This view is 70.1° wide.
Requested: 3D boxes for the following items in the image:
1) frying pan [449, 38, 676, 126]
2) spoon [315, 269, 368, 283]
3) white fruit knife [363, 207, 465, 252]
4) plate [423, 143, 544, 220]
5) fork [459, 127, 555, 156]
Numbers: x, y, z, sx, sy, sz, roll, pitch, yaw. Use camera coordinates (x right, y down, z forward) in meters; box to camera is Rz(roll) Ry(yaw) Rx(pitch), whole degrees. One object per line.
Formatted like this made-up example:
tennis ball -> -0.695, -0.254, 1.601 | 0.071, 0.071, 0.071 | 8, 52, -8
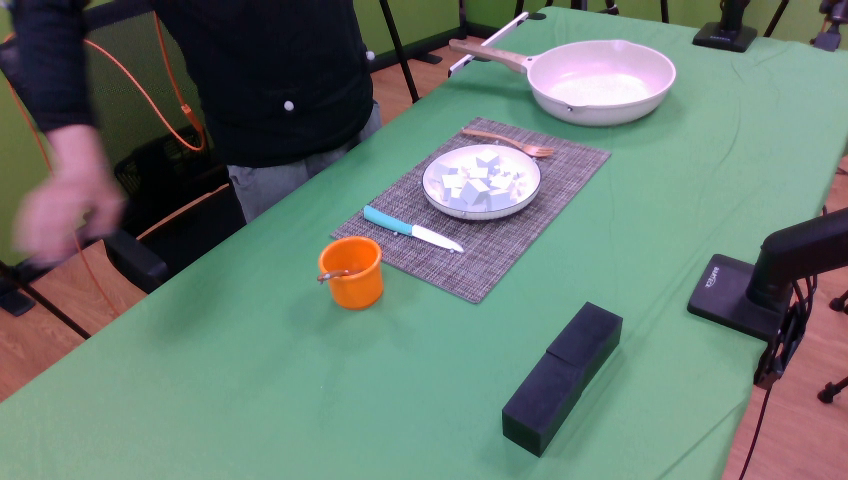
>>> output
frying pan -> 0.272, -0.362, 1.287 | 0.485, 0.103, 0.307 | 23, 48, 19
spoon -> -0.116, 0.049, 0.831 | 0.041, 0.194, 0.021 | -3, 85, 9
white fruit knife -> -0.022, -0.016, 0.990 | 0.206, 0.016, 0.027 | 21, 52, 28
plate -> 0.102, -0.097, 1.049 | 0.207, 0.039, 0.206 | -4, 40, 4
fork -> 0.156, -0.192, 1.165 | 0.206, 0.019, 0.028 | 22, 60, 27
